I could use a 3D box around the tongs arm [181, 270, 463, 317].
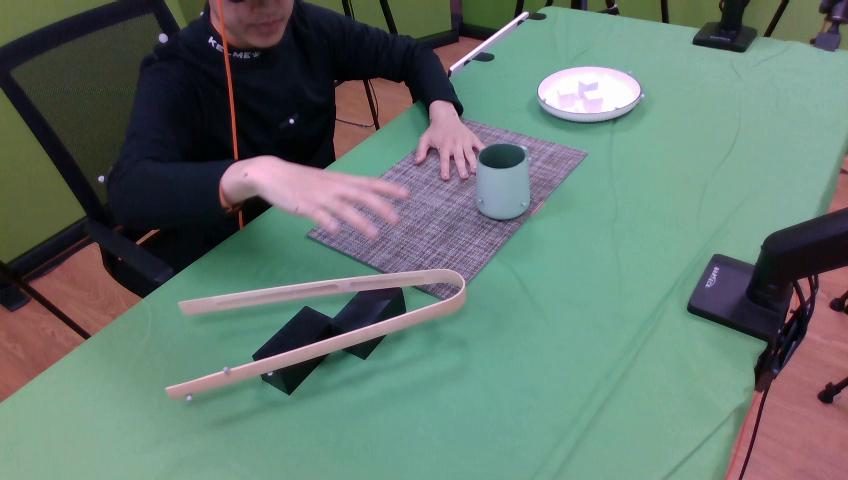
[{"bbox_3d":[-0.139,0.075,0.827,0.388,0.028,0.028,-7,33,1],"label":"tongs arm"}]

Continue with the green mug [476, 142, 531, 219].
[{"bbox_3d":[0.140,-0.106,1.002,0.092,0.105,0.125,21,48,30],"label":"green mug"}]

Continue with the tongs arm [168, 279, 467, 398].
[{"bbox_3d":[-0.124,0.122,0.767,0.386,0.026,0.050,-15,37,-8],"label":"tongs arm"}]

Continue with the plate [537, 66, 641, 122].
[{"bbox_3d":[0.338,-0.299,1.255,0.209,0.038,0.208,-4,41,4],"label":"plate"}]
